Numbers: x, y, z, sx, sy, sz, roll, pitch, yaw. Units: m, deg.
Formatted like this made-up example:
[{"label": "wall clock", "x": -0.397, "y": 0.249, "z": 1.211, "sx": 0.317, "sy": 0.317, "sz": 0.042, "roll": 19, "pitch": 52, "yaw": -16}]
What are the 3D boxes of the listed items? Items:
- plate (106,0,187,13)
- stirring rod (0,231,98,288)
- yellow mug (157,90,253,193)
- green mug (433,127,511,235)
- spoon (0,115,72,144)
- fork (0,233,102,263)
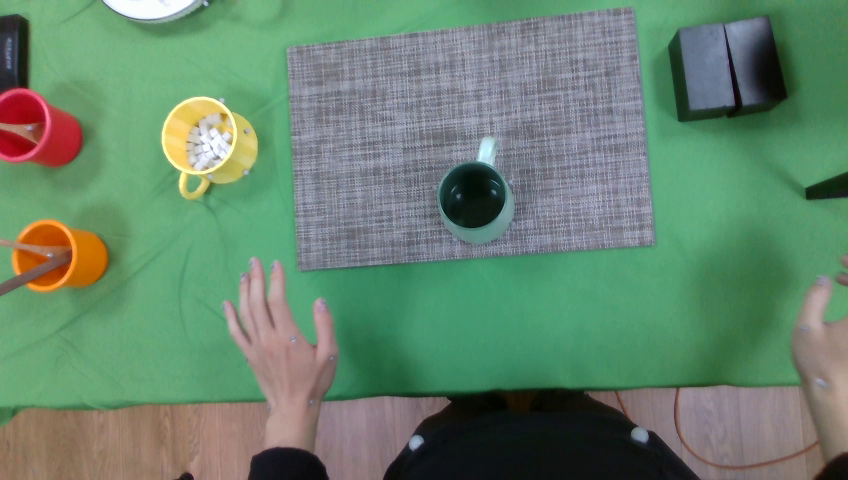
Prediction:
[{"label": "plate", "x": -0.369, "y": -0.407, "z": 0.826, "sx": 0.207, "sy": 0.039, "sz": 0.207, "roll": 0, "pitch": 87, "yaw": 7}, {"label": "stirring rod", "x": -0.498, "y": 0.034, "z": 0.766, "sx": 0.014, "sy": 0.006, "sz": 0.176, "roll": 47, "pitch": 51, "yaw": 6}, {"label": "yellow mug", "x": -0.288, "y": -0.122, "z": 0.785, "sx": 0.100, "sy": 0.064, "sz": 0.131, "roll": 21, "pitch": 91, "yaw": 7}, {"label": "green mug", "x": 0.060, "y": -0.070, "z": 0.713, "sx": 0.092, "sy": 0.105, "sz": 0.125, "roll": 13, "pitch": 88, "yaw": 9}, {"label": "spoon", "x": -0.568, "y": -0.157, "z": 0.784, "sx": 0.195, "sy": 0.021, "sz": 0.041, "roll": 6, "pitch": 84, "yaw": -36}, {"label": "fork", "x": -0.522, "y": -0.001, "z": 0.765, "sx": 0.209, "sy": 0.018, "sz": 0.028, "roll": 16, "pitch": 84, "yaw": -35}]
